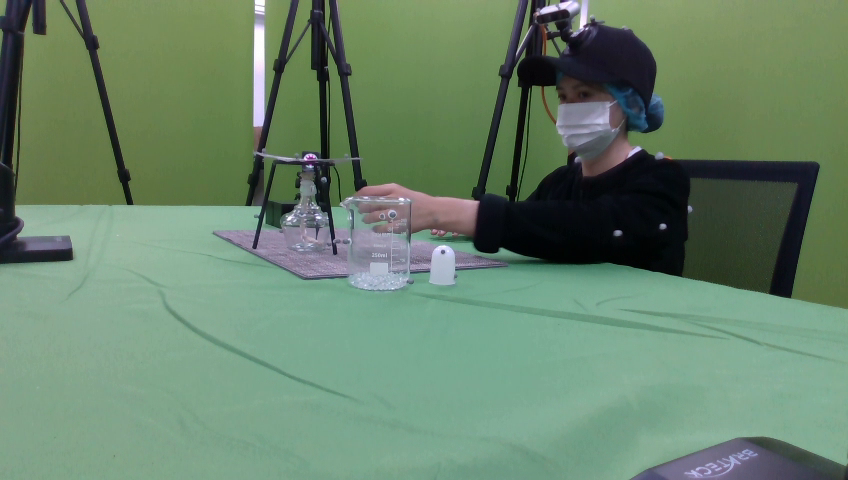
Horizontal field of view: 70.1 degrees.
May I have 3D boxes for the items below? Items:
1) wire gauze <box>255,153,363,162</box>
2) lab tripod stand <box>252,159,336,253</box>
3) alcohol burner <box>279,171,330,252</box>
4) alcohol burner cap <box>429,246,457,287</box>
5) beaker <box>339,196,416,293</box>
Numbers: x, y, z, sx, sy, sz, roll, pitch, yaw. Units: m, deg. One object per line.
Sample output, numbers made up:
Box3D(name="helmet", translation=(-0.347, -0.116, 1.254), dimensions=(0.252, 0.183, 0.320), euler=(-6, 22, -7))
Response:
Box3D(name="wire gauze", translation=(-0.172, -0.119, 0.891), dimensions=(0.122, 0.011, 0.124), euler=(-2, 7, -38))
Box3D(name="lab tripod stand", translation=(-0.180, -0.053, 0.900), dimensions=(0.148, 0.131, 0.148), euler=(1, 6, 0))
Box3D(name="alcohol burner", translation=(-0.174, -0.043, 0.896), dimensions=(0.078, 0.119, 0.078), euler=(3, 5, 0))
Box3D(name="alcohol burner cap", translation=(0.024, 0.030, 0.705), dimensions=(0.034, 0.048, 0.034), euler=(2, 6, 0))
Box3D(name="beaker", translation=(-0.052, 0.004, 0.661), dimensions=(0.084, 0.100, 0.073), euler=(0, 7, -18))
